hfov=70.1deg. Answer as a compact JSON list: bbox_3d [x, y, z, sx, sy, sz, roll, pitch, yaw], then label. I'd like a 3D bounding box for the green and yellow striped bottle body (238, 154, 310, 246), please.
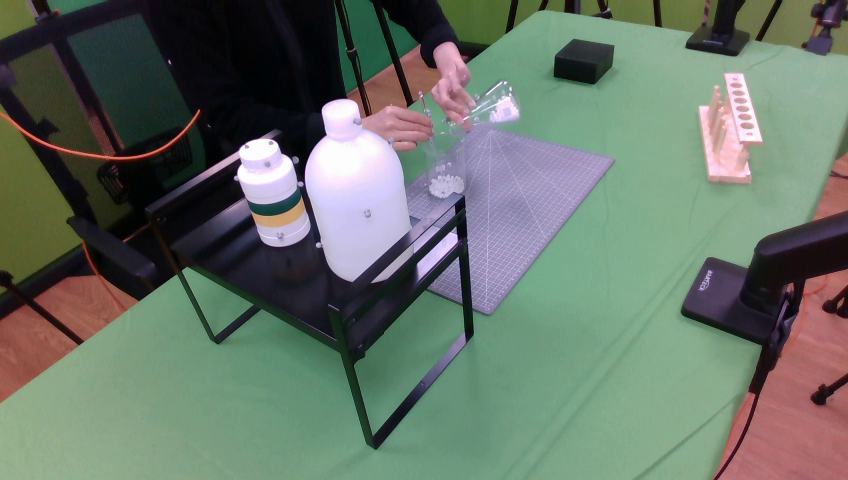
[{"bbox_3d":[-0.178,-0.056,0.714,0.063,0.120,0.063,-4,40,4],"label":"green and yellow striped bottle body"}]

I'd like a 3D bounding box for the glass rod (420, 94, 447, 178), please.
[{"bbox_3d":[0.018,-0.171,1.027,0.008,0.201,0.008,-7,54,10],"label":"glass rod"}]

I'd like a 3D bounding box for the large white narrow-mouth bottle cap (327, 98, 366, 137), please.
[{"bbox_3d":[-0.075,-0.118,0.582,0.038,0.024,0.037,-3,40,3],"label":"large white narrow-mouth bottle cap"}]

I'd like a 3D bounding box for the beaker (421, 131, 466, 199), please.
[{"bbox_3d":[0.040,-0.130,1.060,0.084,0.100,0.073,-24,44,-20],"label":"beaker"}]

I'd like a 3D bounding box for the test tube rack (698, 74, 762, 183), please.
[{"bbox_3d":[0.547,-0.208,1.095,0.066,0.085,0.242,5,42,15],"label":"test tube rack"}]

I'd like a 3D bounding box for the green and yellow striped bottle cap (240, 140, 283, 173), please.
[{"bbox_3d":[-0.183,-0.094,0.679,0.045,0.020,0.045,-4,38,4],"label":"green and yellow striped bottle cap"}]

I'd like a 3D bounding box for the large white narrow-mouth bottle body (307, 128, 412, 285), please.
[{"bbox_3d":[-0.070,-0.051,0.638,0.102,0.195,0.101,-3,40,3],"label":"large white narrow-mouth bottle body"}]

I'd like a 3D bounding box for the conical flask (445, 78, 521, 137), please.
[{"bbox_3d":[0.097,-0.216,1.020,0.122,0.076,0.075,-25,41,3],"label":"conical flask"}]
